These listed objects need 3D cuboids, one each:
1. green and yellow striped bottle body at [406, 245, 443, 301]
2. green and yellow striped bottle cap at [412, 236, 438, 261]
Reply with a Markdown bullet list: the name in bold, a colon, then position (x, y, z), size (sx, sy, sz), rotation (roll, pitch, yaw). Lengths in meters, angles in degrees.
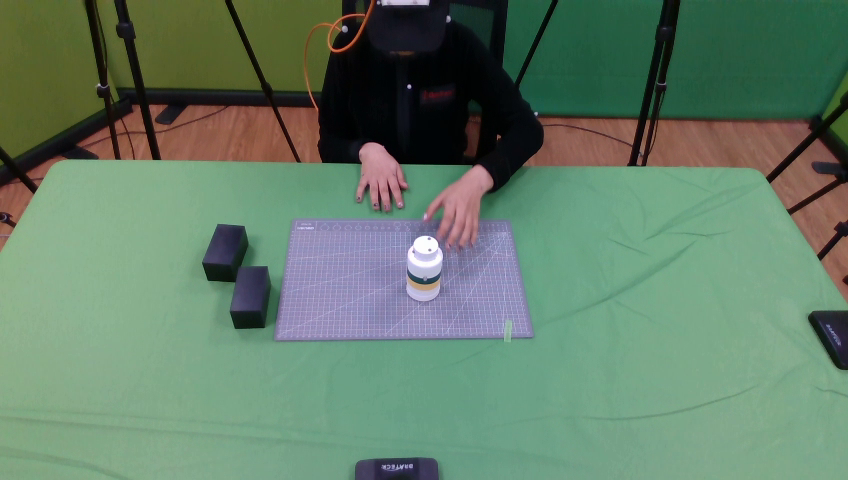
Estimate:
- **green and yellow striped bottle body**: position (0.001, 0.049, 1.077), size (0.063, 0.120, 0.063), rotation (2, 46, -2)
- **green and yellow striped bottle cap**: position (0.002, 0.013, 1.040), size (0.045, 0.020, 0.045), rotation (3, 45, -3)
